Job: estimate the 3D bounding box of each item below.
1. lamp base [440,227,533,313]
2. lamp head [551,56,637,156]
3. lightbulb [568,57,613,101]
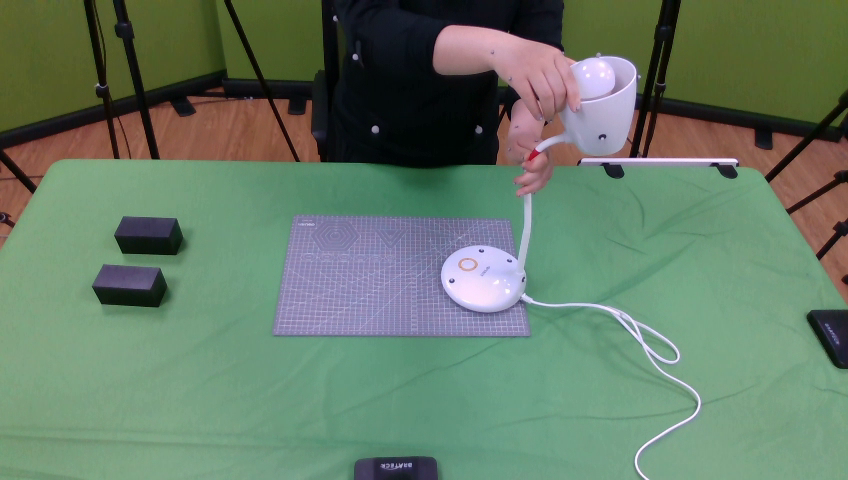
[{"bbox_3d":[0.126,0.021,1.072,0.179,0.181,0.160,22,49,13],"label":"lamp base"},{"bbox_3d":[0.239,-0.178,0.852,0.112,0.123,0.111,-9,43,8],"label":"lamp head"},{"bbox_3d":[0.233,-0.202,0.845,0.059,0.108,0.059,-9,44,9],"label":"lightbulb"}]
